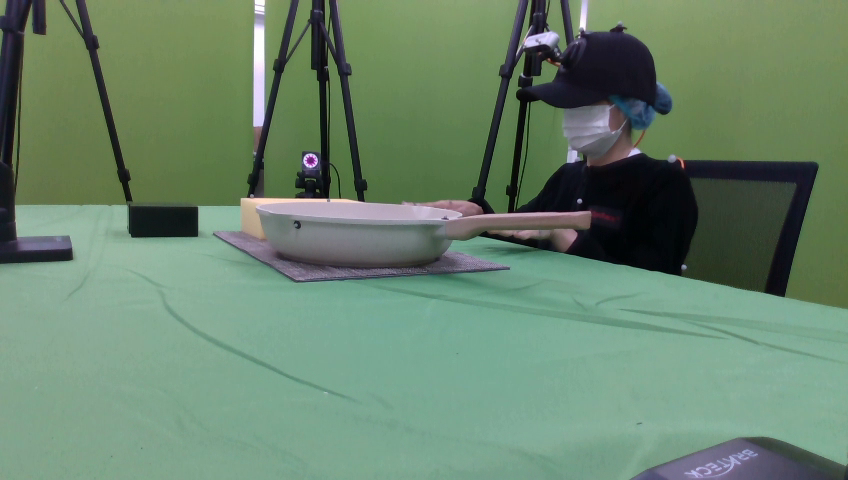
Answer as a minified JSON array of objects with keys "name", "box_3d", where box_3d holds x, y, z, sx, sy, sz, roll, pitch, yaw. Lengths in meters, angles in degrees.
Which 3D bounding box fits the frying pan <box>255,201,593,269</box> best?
[{"name":"frying pan","box_3d":[-0.011,-0.017,0.802,0.485,0.102,0.308,-2,4,39]}]

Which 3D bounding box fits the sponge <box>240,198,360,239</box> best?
[{"name":"sponge","box_3d":[-0.211,-0.040,1.079,0.208,0.061,0.117,-2,9,-33]}]
